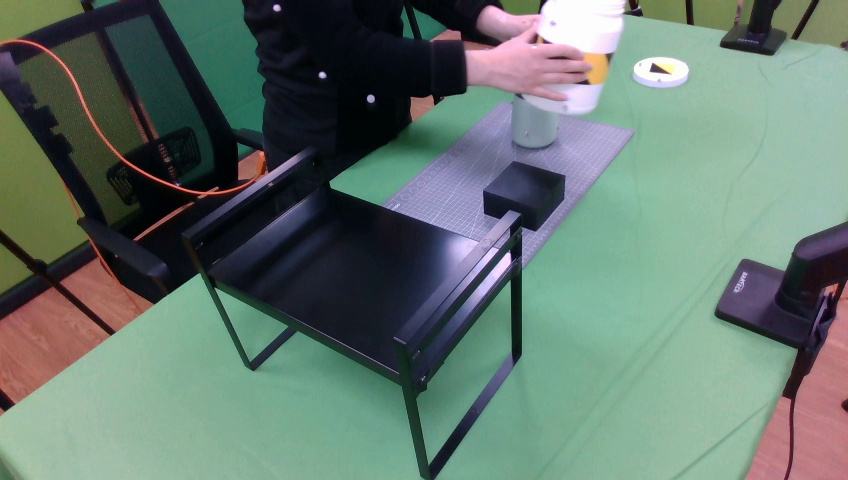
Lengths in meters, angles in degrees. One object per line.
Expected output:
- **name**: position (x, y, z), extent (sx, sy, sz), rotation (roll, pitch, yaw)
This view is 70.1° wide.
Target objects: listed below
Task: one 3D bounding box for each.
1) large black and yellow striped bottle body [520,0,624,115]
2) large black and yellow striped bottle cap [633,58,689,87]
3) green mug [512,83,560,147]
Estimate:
- **large black and yellow striped bottle body**: position (0.241, -0.311, 0.985), extent (0.131, 0.184, 0.130), rotation (8, 35, -5)
- **large black and yellow striped bottle cap**: position (0.521, -0.370, 1.331), extent (0.115, 0.019, 0.114), rotation (-3, 41, 3)
- **green mug**: position (0.217, -0.251, 1.169), extent (0.092, 0.105, 0.125), rotation (2, 41, 12)
